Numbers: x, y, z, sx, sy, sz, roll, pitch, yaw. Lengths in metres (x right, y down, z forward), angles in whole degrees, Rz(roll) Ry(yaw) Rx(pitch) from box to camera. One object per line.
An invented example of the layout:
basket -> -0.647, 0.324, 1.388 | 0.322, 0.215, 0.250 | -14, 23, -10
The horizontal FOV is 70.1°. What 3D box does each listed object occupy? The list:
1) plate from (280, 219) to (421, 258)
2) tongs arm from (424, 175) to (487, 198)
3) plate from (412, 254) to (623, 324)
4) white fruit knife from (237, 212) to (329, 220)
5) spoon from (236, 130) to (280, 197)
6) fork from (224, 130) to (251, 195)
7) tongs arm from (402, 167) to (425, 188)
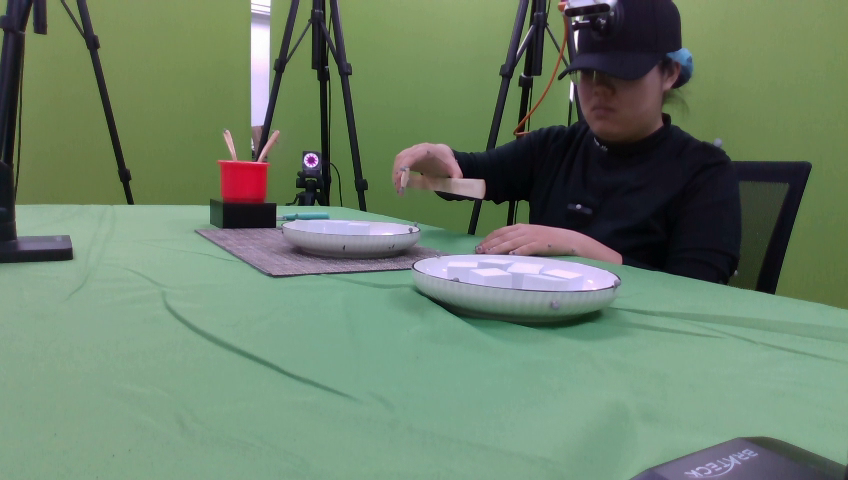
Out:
plate -> -0.108, -0.002, 0.902 | 0.208, 0.039, 0.207 | 3, 7, 0
tongs arm -> 0.043, -0.086, 0.937 | 0.028, 0.028, 0.386 | 2, 6, -9
plate -> 0.091, 0.047, 0.609 | 0.209, 0.038, 0.209 | 2, 7, 0
white fruit knife -> -0.304, -0.050, 1.328 | 0.208, 0.016, 0.027 | -3, -19, -29
spoon -> -0.321, -0.154, 1.192 | 0.041, 0.193, 0.022 | 0, -37, 19
fork -> -0.372, -0.155, 1.193 | 0.028, 0.018, 0.206 | -17, 54, -13
tongs arm -> -0.011, -0.093, 0.931 | 0.051, 0.026, 0.384 | 6, 5, -4
